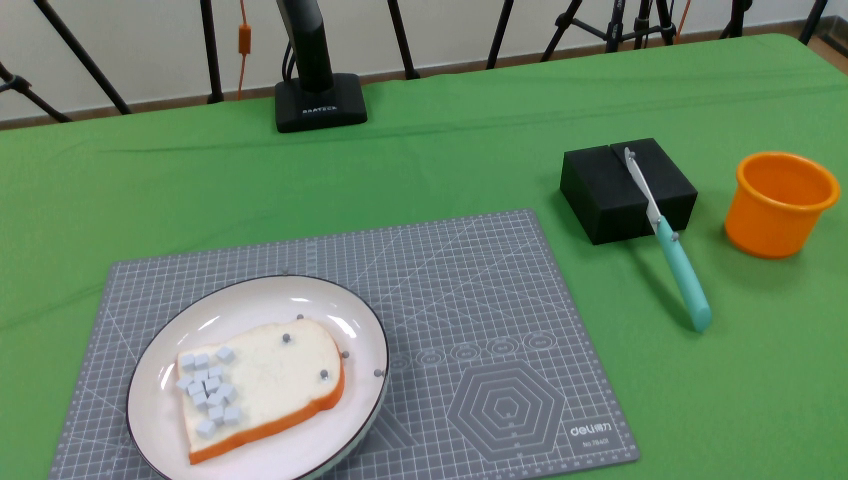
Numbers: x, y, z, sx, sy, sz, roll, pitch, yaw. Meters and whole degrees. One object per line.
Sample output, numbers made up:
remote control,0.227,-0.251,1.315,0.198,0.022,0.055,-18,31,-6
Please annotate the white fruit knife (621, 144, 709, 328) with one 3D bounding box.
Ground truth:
white fruit knife,0.227,-0.014,0.586,0.016,0.027,0.205,-9,59,-7

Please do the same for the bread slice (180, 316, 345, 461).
bread slice,-0.134,0.112,0.505,0.132,0.019,0.103,-19,47,-15

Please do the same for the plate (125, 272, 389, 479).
plate,-0.131,0.113,0.500,0.209,0.038,0.207,-1,44,1
